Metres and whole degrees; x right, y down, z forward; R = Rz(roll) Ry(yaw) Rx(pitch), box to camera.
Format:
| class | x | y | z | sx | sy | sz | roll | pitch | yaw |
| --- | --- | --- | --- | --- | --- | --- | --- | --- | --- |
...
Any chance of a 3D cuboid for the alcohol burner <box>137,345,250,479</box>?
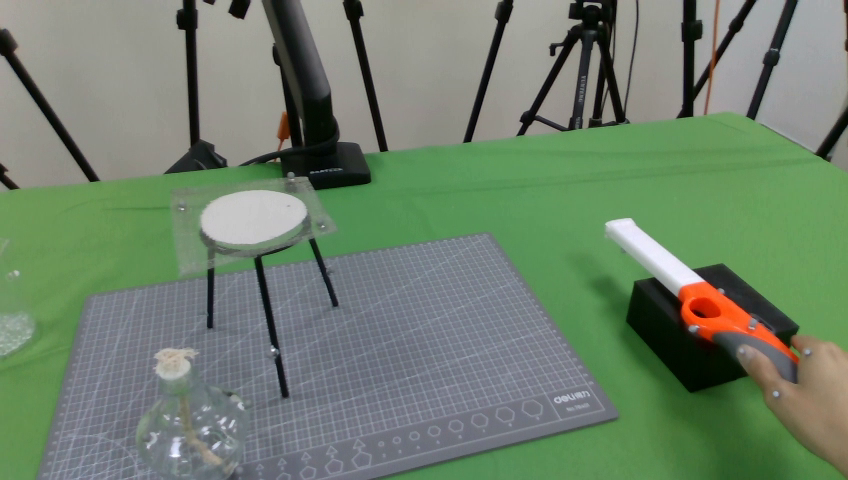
| class | x | y | z | sx | sy | sz | roll | pitch | yaw |
| --- | --- | --- | --- | --- | --- | --- | --- | --- | --- |
| alcohol burner | -0.167 | 0.122 | 0.433 | 0.078 | 0.120 | 0.077 | 2 | 32 | -1 |

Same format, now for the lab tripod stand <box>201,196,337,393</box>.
| class | x | y | z | sx | sy | sz | roll | pitch | yaw |
| --- | --- | --- | --- | --- | --- | --- | --- | --- | --- |
| lab tripod stand | -0.137 | 0.040 | 0.539 | 0.148 | 0.132 | 0.147 | 2 | 34 | -1 |

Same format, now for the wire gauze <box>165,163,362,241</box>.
| class | x | y | z | sx | sy | sz | roll | pitch | yaw |
| --- | --- | --- | --- | --- | --- | --- | --- | --- | --- |
| wire gauze | -0.133 | -0.033 | 0.497 | 0.125 | 0.011 | 0.120 | -19 | 33 | -38 |

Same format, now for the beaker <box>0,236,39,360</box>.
| class | x | y | z | sx | sy | sz | roll | pitch | yaw |
| --- | --- | --- | --- | --- | --- | --- | --- | --- | --- |
| beaker | -0.403 | 0.054 | 0.553 | 0.073 | 0.101 | 0.084 | 20 | 38 | 27 |

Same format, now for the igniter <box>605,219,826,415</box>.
| class | x | y | z | sx | sy | sz | roll | pitch | yaw |
| --- | --- | --- | --- | --- | --- | --- | --- | --- | --- |
| igniter | 0.245 | 0.052 | 0.541 | 0.057 | 0.025 | 0.273 | -10 | 32 | -12 |
